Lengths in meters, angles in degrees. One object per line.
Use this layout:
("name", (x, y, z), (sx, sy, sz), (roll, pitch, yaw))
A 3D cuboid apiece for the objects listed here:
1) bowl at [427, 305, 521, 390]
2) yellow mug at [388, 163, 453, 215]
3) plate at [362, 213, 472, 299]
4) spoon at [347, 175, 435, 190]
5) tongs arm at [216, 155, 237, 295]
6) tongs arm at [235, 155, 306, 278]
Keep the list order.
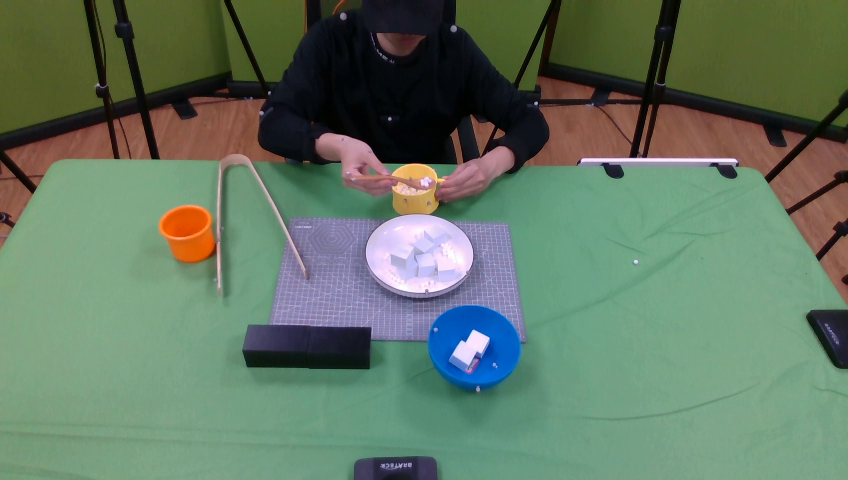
("bowl", (0.076, 0.188, 0.985), (0.151, 0.077, 0.150), (3, 46, -3))
("yellow mug", (-0.006, -0.105, 1.258), (0.131, 0.064, 0.099), (-3, 48, 1))
("plate", (-0.013, 0.034, 1.150), (0.208, 0.039, 0.206), (2, 46, -2))
("spoon", (-0.057, -0.109, 1.101), (0.194, 0.022, 0.041), (3, 29, -41))
("tongs arm", (-0.388, -0.043, 1.201), (0.051, 0.026, 0.382), (-9, 46, -12))
("tongs arm", (-0.312, -0.059, 1.224), (0.028, 0.028, 0.385), (-22, 50, -18))
